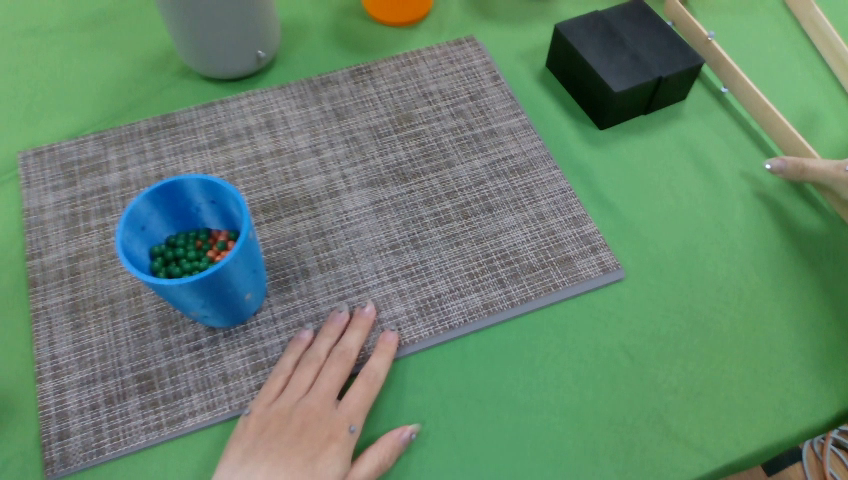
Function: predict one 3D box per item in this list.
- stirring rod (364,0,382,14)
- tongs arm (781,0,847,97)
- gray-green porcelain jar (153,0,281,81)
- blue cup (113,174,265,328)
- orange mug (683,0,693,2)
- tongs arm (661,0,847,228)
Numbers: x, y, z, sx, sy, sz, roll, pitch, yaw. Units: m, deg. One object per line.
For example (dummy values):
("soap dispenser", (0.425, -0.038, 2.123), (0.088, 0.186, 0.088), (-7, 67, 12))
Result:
("stirring rod", (-0.006, -0.306, 0.617), (0.176, 0.006, 0.014), (-49, 67, 20))
("tongs arm", (0.426, -0.117, 0.580), (0.028, 0.028, 0.383), (-1, 59, -11))
("gray-green porcelain jar", (-0.194, -0.223, 0.568), (0.106, 0.127, 0.105), (1, 59, -1))
("blue cup", (-0.156, 0.017, 0.434), (0.092, 0.101, 0.092), (0, 60, 0))
("orange mug", (0.275, -0.324, 0.658), (0.083, 0.102, 0.125), (-19, 57, -13))
("tongs arm", (0.345, -0.101, 0.563), (0.051, 0.027, 0.381), (-15, 61, -16))
